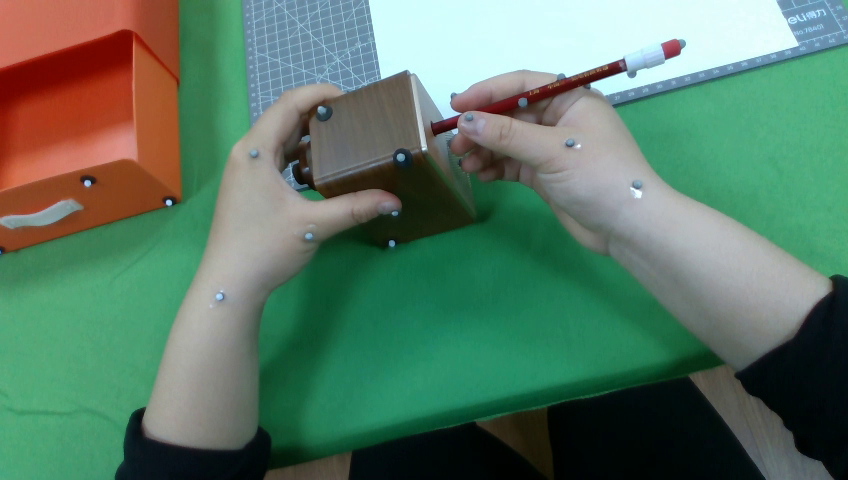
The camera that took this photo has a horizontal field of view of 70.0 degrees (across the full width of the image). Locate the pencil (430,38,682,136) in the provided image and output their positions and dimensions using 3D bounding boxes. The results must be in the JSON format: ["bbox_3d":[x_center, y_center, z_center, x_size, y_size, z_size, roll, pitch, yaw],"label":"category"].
[{"bbox_3d":[0.046,-0.077,0.346,0.194,0.012,0.012,-16,65,14],"label":"pencil"}]

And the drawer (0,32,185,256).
[{"bbox_3d":[-0.305,-0.106,0.499,0.194,0.074,0.210,-16,65,7],"label":"drawer"}]

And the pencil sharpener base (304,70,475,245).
[{"bbox_3d":[-0.020,-0.046,0.391,0.076,0.108,0.061,-16,66,16],"label":"pencil sharpener base"}]

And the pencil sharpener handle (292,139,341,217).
[{"bbox_3d":[-0.071,-0.035,0.393,0.030,0.068,0.035,-16,61,16],"label":"pencil sharpener handle"}]

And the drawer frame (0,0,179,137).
[{"bbox_3d":[-0.329,-0.211,0.544,0.201,0.083,0.211,-15,65,7],"label":"drawer frame"}]
